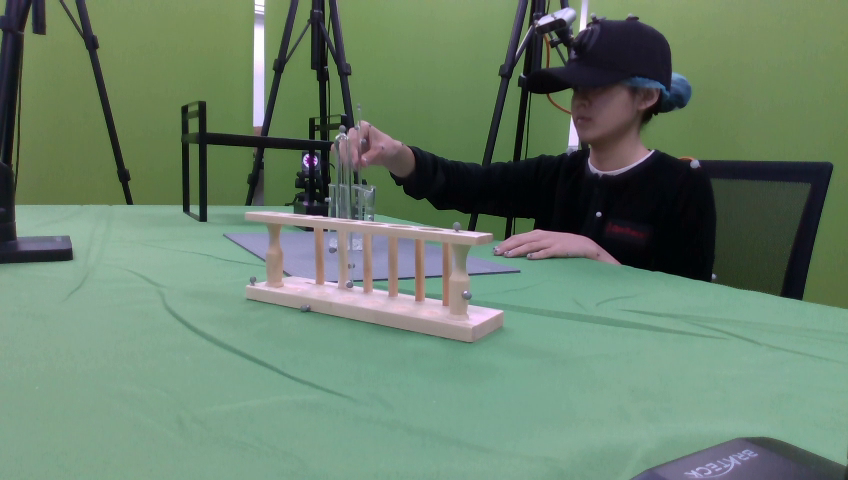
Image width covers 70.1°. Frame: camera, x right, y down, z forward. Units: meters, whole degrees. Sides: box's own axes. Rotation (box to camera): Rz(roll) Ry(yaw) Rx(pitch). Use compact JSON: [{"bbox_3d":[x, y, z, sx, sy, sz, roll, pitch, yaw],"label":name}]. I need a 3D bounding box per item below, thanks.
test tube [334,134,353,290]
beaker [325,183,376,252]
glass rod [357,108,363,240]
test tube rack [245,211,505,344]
[{"bbox_3d":[-0.077,-0.026,0.579,0.017,0.150,0.017,0,7,0],"label":"test tube"},{"bbox_3d":[-0.110,-0.034,0.920,0.083,0.100,0.074,11,11,43],"label":"beaker"},{"bbox_3d":[-0.097,-0.099,0.917,0.008,0.199,0.008,0,5,0],"label":"glass rod"},{"bbox_3d":[-0.049,0.025,0.547,0.241,0.085,0.067,7,8,29],"label":"test tube rack"}]
